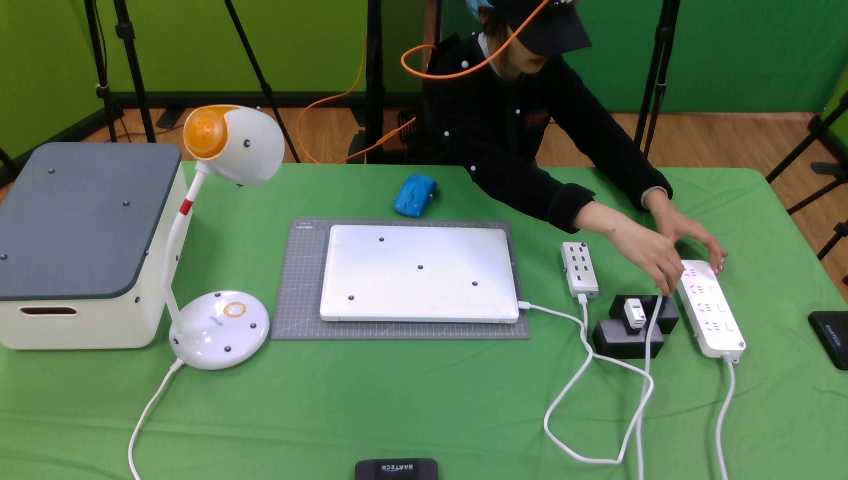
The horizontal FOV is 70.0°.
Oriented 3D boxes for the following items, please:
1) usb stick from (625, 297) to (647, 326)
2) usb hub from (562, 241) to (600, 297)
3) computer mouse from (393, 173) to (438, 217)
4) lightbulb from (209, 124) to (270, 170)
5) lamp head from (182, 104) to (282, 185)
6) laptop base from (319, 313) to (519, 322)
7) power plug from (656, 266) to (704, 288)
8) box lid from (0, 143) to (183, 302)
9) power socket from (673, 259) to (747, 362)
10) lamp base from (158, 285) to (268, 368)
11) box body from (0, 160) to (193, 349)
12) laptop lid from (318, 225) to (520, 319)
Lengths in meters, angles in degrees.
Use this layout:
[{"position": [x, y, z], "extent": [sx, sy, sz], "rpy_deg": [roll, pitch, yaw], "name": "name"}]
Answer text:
[{"position": [0.360, 0.117, 1.033], "extent": [0.021, 0.027, 0.059], "rpy_deg": [-1, 44, -2], "name": "usb stick"}, {"position": [0.300, 0.055, 1.162], "extent": [0.049, 0.025, 0.124], "rpy_deg": [3, 46, -3], "name": "usb hub"}, {"position": [-0.017, -0.098, 1.282], "extent": [0.062, 0.041, 0.117], "rpy_deg": [20, 52, 13], "name": "computer mouse"}, {"position": [-0.260, -0.135, 0.847], "extent": [0.059, 0.108, 0.059], "rpy_deg": [-4, 79, 19], "name": "lightbulb"}, {"position": [-0.271, -0.133, 0.825], "extent": [0.112, 0.112, 0.123], "rpy_deg": [20, 8, 15], "name": "lamp head"}, {"position": [-0.009, 0.063, 1.137], "extent": [0.354, 0.023, 0.234], "rpy_deg": [1, 42, -3], "name": "laptop base"}, {"position": [0.458, 0.073, 1.092], "extent": [0.072, 0.053, 0.035], "rpy_deg": [20, 56, 5], "name": "power plug"}, {"position": [-0.567, -0.045, 0.999], "extent": [0.263, 0.015, 0.369], "rpy_deg": [-1, 46, -4], "name": "box lid"}, {"position": [0.517, 0.119, 1.108], "extent": [0.072, 0.033, 0.225], "rpy_deg": [1, 46, -1], "name": "power socket"}, {"position": [-0.347, 0.102, 0.963], "extent": [0.160, 0.181, 0.178], "rpy_deg": [24, 51, 18], "name": "lamp base"}, {"position": [-0.570, 0.006, 1.054], "extent": [0.254, 0.161, 0.361], "rpy_deg": [-1, 46, -4], "name": "box body"}, {"position": [-0.009, 0.053, 1.131], "extent": [0.357, 0.013, 0.240], "rpy_deg": [2, 44, -2], "name": "laptop lid"}]
